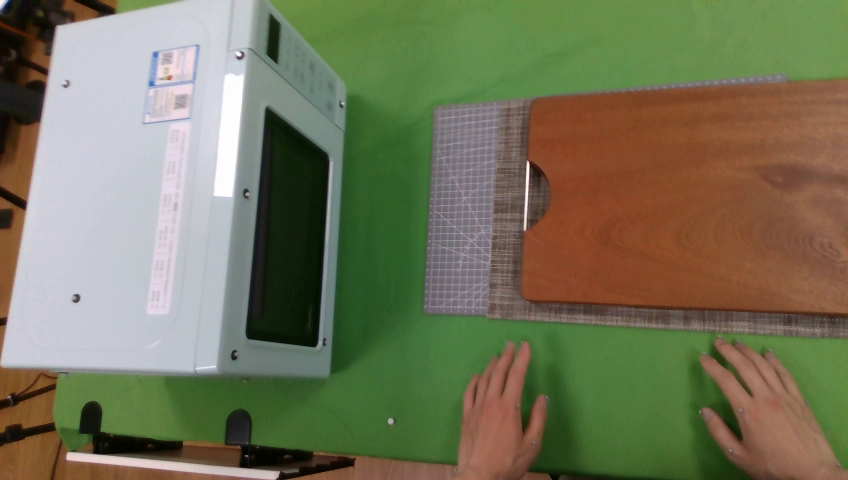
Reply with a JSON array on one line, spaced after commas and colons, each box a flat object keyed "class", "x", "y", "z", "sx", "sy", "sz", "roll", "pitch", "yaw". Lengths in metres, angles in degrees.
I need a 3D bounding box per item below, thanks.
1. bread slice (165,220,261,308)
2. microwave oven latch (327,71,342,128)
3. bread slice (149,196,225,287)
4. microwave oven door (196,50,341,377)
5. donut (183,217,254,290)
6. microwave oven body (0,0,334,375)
[{"class": "bread slice", "x": -0.301, "y": 0.028, "z": 0.847, "sx": 0.131, "sy": 0.019, "sz": 0.104, "roll": 15, "pitch": 87, "yaw": 15}, {"class": "microwave oven latch", "x": -0.137, "y": -0.205, "z": 0.887, "sx": 0.030, "sy": 0.030, "sz": 0.079, "roll": -3, "pitch": 78, "yaw": 17}, {"class": "bread slice", "x": -0.303, "y": 0.011, "z": 0.774, "sx": 0.134, "sy": 0.018, "sz": 0.106, "roll": -14, "pitch": 75, "yaw": 29}, {"class": "microwave oven door", "x": -0.178, "y": -0.014, "z": 0.748, "sx": 0.039, "sy": 0.245, "sz": 0.354, "roll": -3, "pitch": 77, "yaw": 18}, {"class": "donut", "x": -0.277, "y": 0.018, "z": 0.814, "sx": 0.099, "sy": 0.048, "sz": 0.099, "roll": 1, "pitch": 94, "yaw": 8}, {"class": "microwave oven body", "x": -0.314, "y": -0.047, "z": 0.806, "sx": 0.325, "sy": 0.262, "sz": 0.439, "roll": -2, "pitch": 78, "yaw": 17}]
